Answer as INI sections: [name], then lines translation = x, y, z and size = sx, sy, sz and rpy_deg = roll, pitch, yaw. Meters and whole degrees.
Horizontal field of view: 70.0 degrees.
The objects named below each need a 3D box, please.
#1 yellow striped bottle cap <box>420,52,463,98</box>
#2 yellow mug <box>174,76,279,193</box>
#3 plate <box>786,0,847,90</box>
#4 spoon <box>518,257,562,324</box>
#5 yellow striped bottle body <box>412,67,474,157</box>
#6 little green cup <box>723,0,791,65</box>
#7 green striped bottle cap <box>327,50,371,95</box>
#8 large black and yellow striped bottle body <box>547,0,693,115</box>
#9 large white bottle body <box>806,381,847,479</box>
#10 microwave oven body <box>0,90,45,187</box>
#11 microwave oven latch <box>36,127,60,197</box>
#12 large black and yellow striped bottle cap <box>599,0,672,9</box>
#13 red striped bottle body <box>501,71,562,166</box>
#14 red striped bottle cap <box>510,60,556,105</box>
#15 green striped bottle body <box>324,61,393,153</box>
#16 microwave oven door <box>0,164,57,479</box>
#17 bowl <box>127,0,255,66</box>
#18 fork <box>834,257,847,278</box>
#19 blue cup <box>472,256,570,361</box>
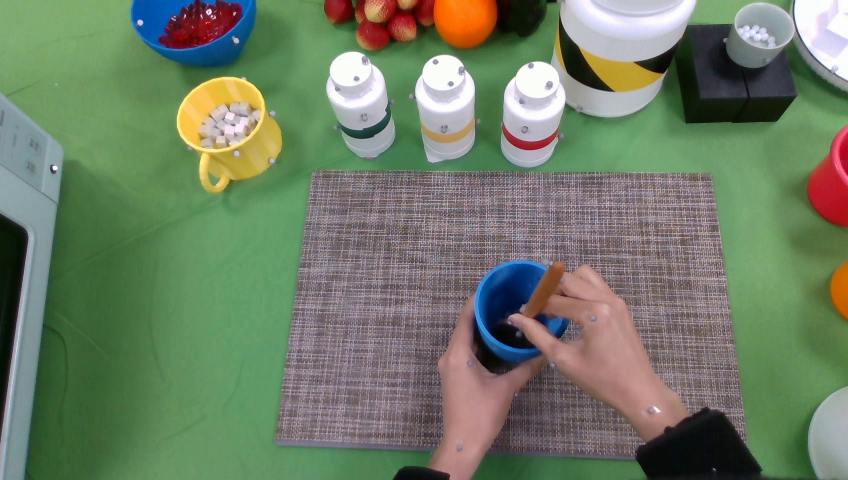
[yellow striped bottle cap]
translation = 0.018, -0.167, 0.612
size = 0.044, 0.019, 0.044
rpy_deg = -1, 70, 3
[yellow mug]
translation = -0.229, -0.116, 0.695
size = 0.100, 0.064, 0.130
rpy_deg = 10, 70, 8
[plate]
translation = 0.527, -0.248, 0.706
size = 0.209, 0.038, 0.207
rpy_deg = -1, 69, 4
[spoon]
translation = 0.088, 0.060, 0.516
size = 0.041, 0.195, 0.021
rpy_deg = 24, 67, 7
[yellow striped bottle body]
translation = 0.022, -0.147, 0.659
size = 0.063, 0.121, 0.062
rpy_deg = -2, 67, 5
[little green cup]
translation = 0.356, -0.221, 0.654
size = 0.061, 0.039, 0.061
rpy_deg = -1, 67, 3
[green striped bottle cap]
translation = -0.077, -0.172, 0.621
size = 0.044, 0.020, 0.044
rpy_deg = -1, 67, 3
[large black and yellow striped bottle body]
translation = 0.206, -0.236, 0.647
size = 0.131, 0.185, 0.130
rpy_deg = -2, 68, 4
[large white bottle body]
translation = 0.408, 0.158, 0.472
size = 0.130, 0.186, 0.129
rpy_deg = -2, 67, 4
[microwave oven body]
translation = -0.573, 0.058, 0.543
size = 0.326, 0.262, 0.438
rpy_deg = -8, 68, 1
[microwave oven latch]
translation = -0.441, -0.088, 0.695
size = 0.030, 0.030, 0.078
rpy_deg = -6, 69, 2
[large black and yellow striped bottle cap]
translation = 0.199, -0.267, 0.569
size = 0.115, 0.019, 0.114
rpy_deg = -2, 67, 4
[red striped bottle body]
translation = 0.114, -0.135, 0.648
size = 0.063, 0.120, 0.062
rpy_deg = -3, 65, 8
[red striped bottle cap]
translation = 0.109, -0.156, 0.600
size = 0.044, 0.018, 0.044
rpy_deg = 0, 67, 0
[green striped bottle body]
translation = -0.072, -0.152, 0.669
size = 0.063, 0.120, 0.062
rpy_deg = -1, 67, 4
[microwave oven door]
translation = -0.424, 0.075, 0.520
size = 0.039, 0.245, 0.353
rpy_deg = -8, 68, 2
[bowl]
translation = -0.276, -0.272, 0.755
size = 0.151, 0.077, 0.150
rpy_deg = -1, 68, 3
[fork]
translation = 0.468, 0.052, 0.530
size = 0.028, 0.019, 0.205
rpy_deg = -33, 25, -14
[blue cup]
translation = 0.087, 0.074, 0.572
size = 0.092, 0.101, 0.092
rpy_deg = -1, 66, 3
